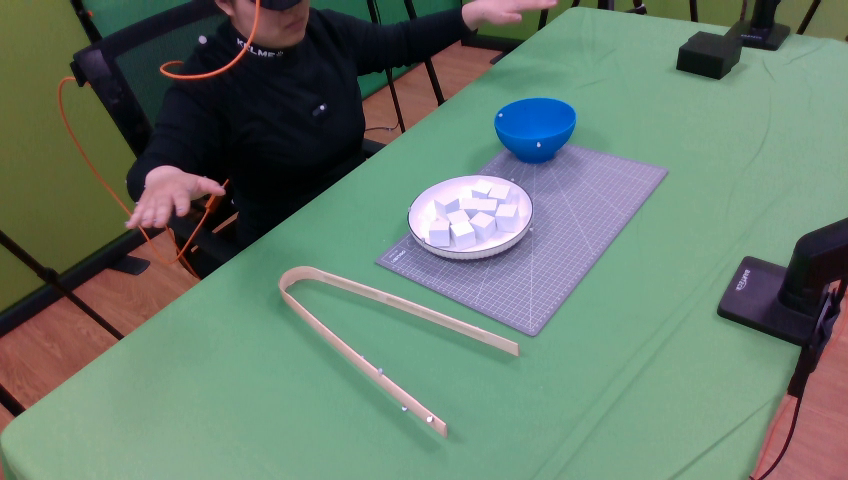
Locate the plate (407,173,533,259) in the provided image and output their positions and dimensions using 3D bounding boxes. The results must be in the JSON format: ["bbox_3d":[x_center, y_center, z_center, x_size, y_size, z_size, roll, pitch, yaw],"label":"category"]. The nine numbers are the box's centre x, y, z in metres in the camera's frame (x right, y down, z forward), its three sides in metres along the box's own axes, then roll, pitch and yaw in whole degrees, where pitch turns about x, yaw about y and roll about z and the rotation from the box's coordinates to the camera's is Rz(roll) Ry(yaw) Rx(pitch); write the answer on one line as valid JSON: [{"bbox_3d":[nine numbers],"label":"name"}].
[{"bbox_3d":[0.076,-0.037,0.997,0.207,0.039,0.206,-5,40,5],"label":"plate"}]

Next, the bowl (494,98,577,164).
[{"bbox_3d":[0.207,-0.196,1.128,0.151,0.077,0.150,-5,40,5],"label":"bowl"}]

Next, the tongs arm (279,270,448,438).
[{"bbox_3d":[-0.092,0.140,0.824,0.381,0.026,0.051,28,52,37],"label":"tongs arm"}]

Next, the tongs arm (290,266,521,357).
[{"bbox_3d":[-0.039,0.097,0.871,0.385,0.028,0.028,16,49,28],"label":"tongs arm"}]
